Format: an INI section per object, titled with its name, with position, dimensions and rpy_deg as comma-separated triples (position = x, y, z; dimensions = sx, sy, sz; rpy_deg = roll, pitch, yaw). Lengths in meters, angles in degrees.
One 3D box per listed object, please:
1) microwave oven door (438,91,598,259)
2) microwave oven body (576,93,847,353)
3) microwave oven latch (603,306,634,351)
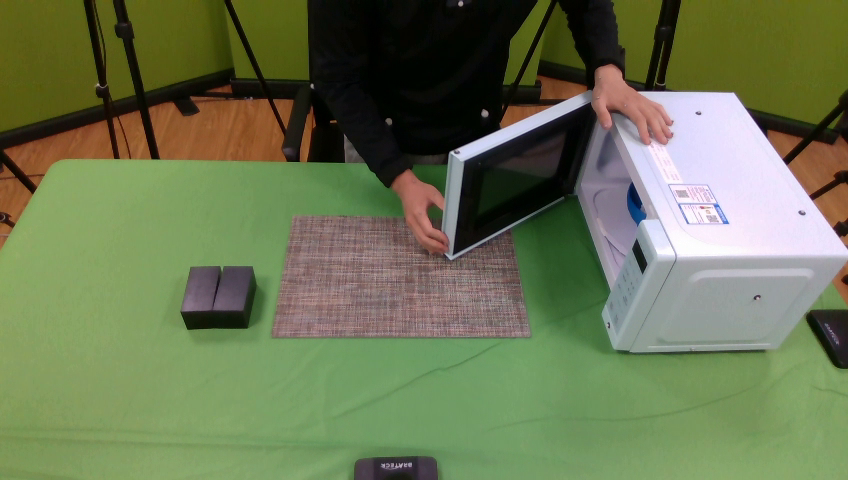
[microwave oven door]
position = 0.183, -0.128, 1.164
dimensions = 0.356, 0.245, 0.039
rpy_deg = -27, 53, -27
[microwave oven body]
position = 0.475, -0.041, 1.109
dimensions = 0.326, 0.261, 0.438
rpy_deg = -1, 45, -4
[microwave oven latch]
position = 0.332, 0.153, 1.044
dimensions = 0.030, 0.029, 0.078
rpy_deg = 0, 45, -3
